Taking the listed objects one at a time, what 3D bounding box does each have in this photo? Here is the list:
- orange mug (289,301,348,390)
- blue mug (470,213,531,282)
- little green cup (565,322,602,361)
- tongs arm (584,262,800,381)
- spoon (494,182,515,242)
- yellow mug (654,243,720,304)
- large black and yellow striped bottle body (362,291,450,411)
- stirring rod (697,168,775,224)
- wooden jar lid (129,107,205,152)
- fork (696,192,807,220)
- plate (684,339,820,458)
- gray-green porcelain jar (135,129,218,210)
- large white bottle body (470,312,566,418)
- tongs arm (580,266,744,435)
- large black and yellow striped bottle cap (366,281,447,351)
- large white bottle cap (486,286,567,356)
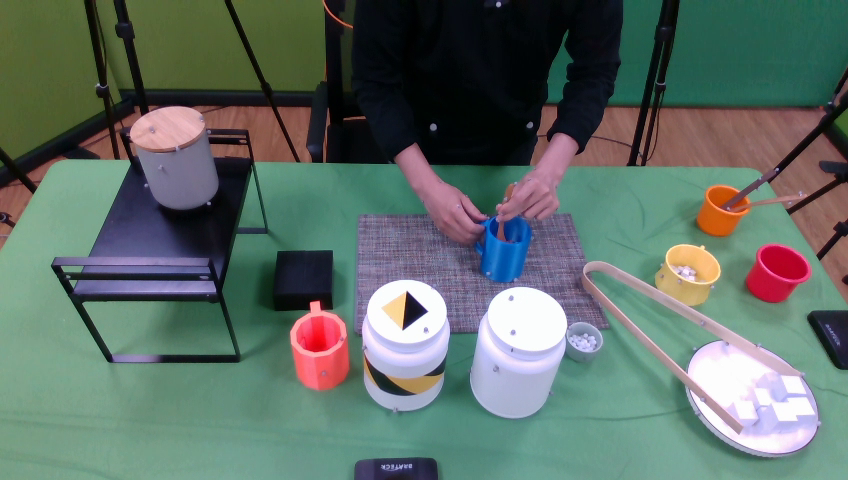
[{"bbox_3d":[-0.170,0.162,0.976,0.083,0.101,0.125,-7,52,-11],"label":"orange mug"},{"bbox_3d":[0.136,0.007,1.137,0.116,0.106,0.082,28,51,21],"label":"blue mug"},{"bbox_3d":[0.271,0.176,1.039,0.061,0.039,0.061,2,46,-2],"label":"little green cup"},{"bbox_3d":[0.451,0.137,1.064,0.051,0.027,0.382,-34,50,-27],"label":"tongs arm"},{"bbox_3d":[0.136,-0.030,1.075,0.042,0.195,0.021,-12,47,-15],"label":"spoon"},{"bbox_3d":[0.504,0.054,1.154,0.099,0.064,0.130,28,50,22],"label":"yellow mug"},{"bbox_3d":[-0.030,0.163,0.928,0.131,0.185,0.130,2,47,-2],"label":"large black and yellow striped bottle body"},{"bbox_3d":[0.644,-0.090,1.252,0.176,0.006,0.014,-40,53,16],"label":"stirring rod"},{"bbox_3d":[-0.385,-0.163,0.915,0.108,0.021,0.107,2,47,-2],"label":"wooden jar lid"},{"bbox_3d":[0.655,-0.069,1.224,0.207,0.019,0.028,-17,33,45],"label":"fork"},{"bbox_3d":[0.523,0.256,0.982,0.208,0.039,0.206,2,46,-2],"label":"plate"},{"bbox_3d":[-0.388,-0.120,0.960,0.106,0.127,0.105,2,46,-2],"label":"gray-green porcelain jar"},{"bbox_3d":[0.143,0.173,0.930,0.131,0.185,0.130,2,46,-2],"label":"large white bottle body"},{"bbox_3d":[0.384,0.173,1.028,0.028,0.028,0.385,-25,46,-15],"label":"tongs arm"},{"bbox_3d":[-0.025,0.106,0.866,0.115,0.019,0.114,2,46,-1],"label":"large black and yellow striped bottle cap"},{"bbox_3d":[0.147,0.114,0.869,0.115,0.018,0.114,3,46,-3],"label":"large white bottle cap"}]
